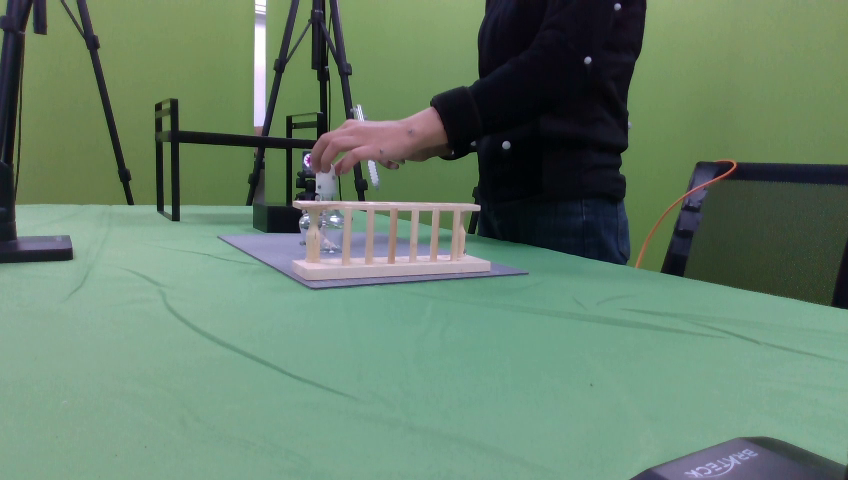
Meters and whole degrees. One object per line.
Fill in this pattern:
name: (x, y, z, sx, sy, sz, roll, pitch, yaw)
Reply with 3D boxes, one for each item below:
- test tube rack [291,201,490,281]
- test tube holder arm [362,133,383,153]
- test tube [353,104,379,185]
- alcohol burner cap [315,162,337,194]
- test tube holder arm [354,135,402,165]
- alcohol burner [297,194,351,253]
test tube rack: (-0.035, -0.002, 0.745, 0.243, 0.085, 0.066, -1, 8, -28)
test tube holder arm: (-0.091, -0.170, 1.071, 0.010, 0.015, 0.088, -10, -9, 12)
test tube: (-0.100, -0.166, 1.049, 0.017, 0.150, 0.017, -13, -11, -2)
alcohol burner cap: (-0.145, -0.090, 0.884, 0.034, 0.048, 0.034, -2, 12, 1)
test tube holder arm: (-0.082, -0.164, 1.115, 0.013, 0.015, 0.179, -11, -10, 20)
alcohol burner: (-0.146, -0.040, 0.894, 0.078, 0.119, 0.078, 5, 7, 0)
